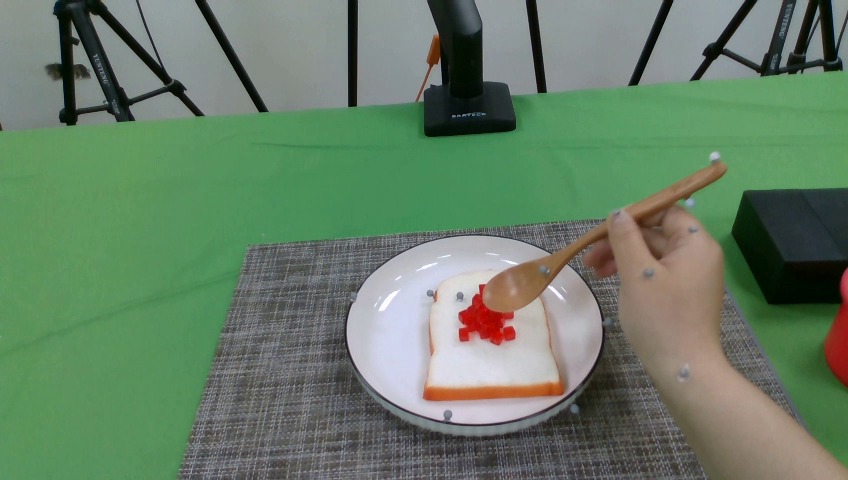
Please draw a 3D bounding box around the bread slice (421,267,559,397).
[{"bbox_3d":[0.050,0.072,0.501,0.105,0.019,0.130,-2,41,2],"label":"bread slice"}]

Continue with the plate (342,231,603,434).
[{"bbox_3d":[0.038,0.071,0.500,0.209,0.038,0.207,-3,41,3],"label":"plate"}]

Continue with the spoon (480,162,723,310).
[{"bbox_3d":[0.118,0.000,0.430,0.194,0.022,0.041,-36,38,32],"label":"spoon"}]
